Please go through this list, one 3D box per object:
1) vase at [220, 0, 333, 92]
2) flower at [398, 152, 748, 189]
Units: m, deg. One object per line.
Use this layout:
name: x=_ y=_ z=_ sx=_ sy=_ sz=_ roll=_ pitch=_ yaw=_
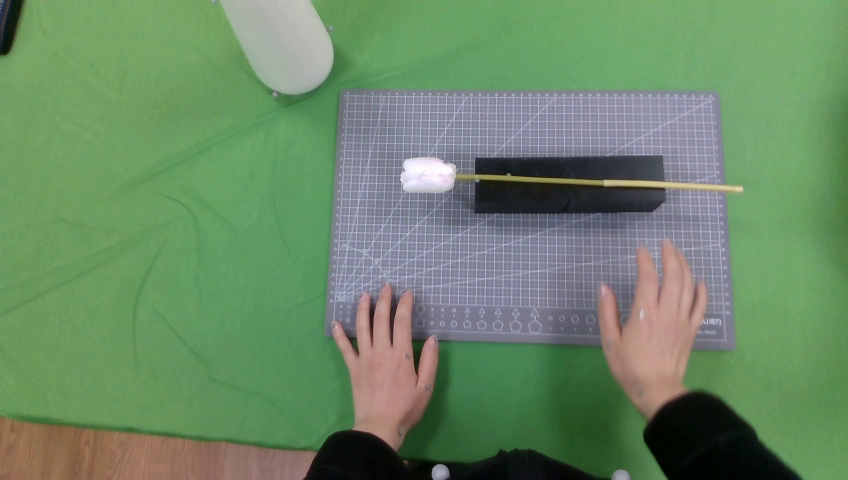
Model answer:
vase: x=-0.161 y=-0.242 z=0.653 sx=0.098 sy=0.201 sz=0.097 roll=-1 pitch=77 yaw=3
flower: x=0.152 y=-0.068 z=0.642 sx=0.361 sy=0.038 sz=0.043 roll=3 pitch=45 yaw=8
